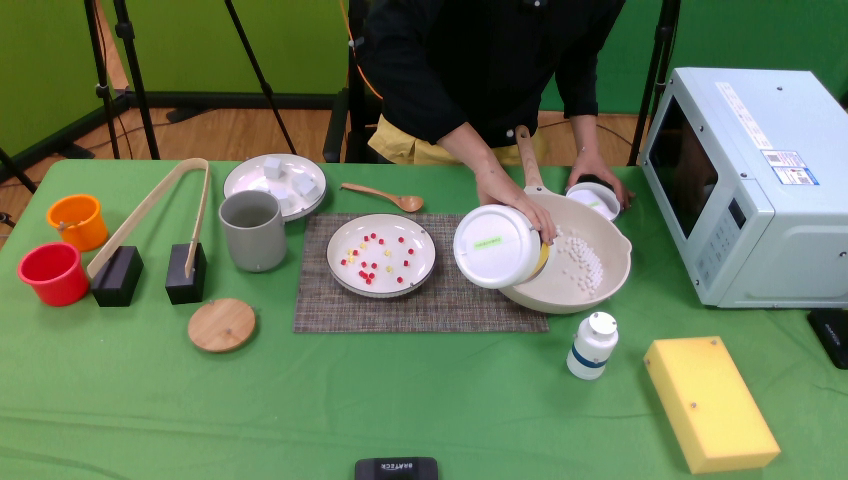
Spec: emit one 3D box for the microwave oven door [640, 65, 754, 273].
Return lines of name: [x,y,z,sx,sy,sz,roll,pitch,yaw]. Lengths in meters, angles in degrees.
microwave oven door: [0.523,-0.147,1.193,0.039,0.245,0.353,0,47,-3]

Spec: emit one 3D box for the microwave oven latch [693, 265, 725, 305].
microwave oven latch: [0.523,0.082,1.116,0.030,0.029,0.078,2,46,-1]

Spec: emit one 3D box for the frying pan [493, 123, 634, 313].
frying pan: [0.235,-0.060,1.208,0.307,0.103,0.484,2,54,-6]

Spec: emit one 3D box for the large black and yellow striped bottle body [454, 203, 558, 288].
large black and yellow striped bottle body: [0.143,0.010,0.999,0.130,0.131,0.184,33,14,24]

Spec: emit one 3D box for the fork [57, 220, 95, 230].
fork: [-0.624,-0.027,1.087,0.028,0.207,0.018,-3,92,-17]

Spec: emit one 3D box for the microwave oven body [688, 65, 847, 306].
microwave oven body: [0.669,-0.111,1.176,0.326,0.261,0.439,0,46,-3]

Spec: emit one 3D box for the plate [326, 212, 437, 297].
plate: [-0.080,0.030,1.143,0.209,0.038,0.208,2,46,-2]

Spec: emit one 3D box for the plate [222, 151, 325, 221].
plate: [-0.310,-0.106,1.262,0.208,0.039,0.206,2,47,-2]

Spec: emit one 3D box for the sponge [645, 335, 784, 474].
sponge: [0.449,0.253,0.956,0.118,0.061,0.205,-4,46,-7]

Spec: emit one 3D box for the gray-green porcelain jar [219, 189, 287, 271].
gray-green porcelain jar: [-0.310,-0.014,1.113,0.106,0.127,0.105,2,46,-2]

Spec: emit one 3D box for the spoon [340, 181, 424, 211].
spoon: [-0.090,-0.100,1.282,0.193,0.022,0.041,18,65,13]

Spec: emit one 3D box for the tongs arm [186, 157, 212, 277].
tongs arm: [-0.445,-0.058,1.168,0.051,0.026,0.382,-4,37,-6]

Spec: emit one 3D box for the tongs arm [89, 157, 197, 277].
tongs arm: [-0.530,-0.058,1.163,0.028,0.028,0.385,1,36,7]

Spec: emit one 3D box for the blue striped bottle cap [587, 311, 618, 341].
blue striped bottle cap: [0.279,0.134,0.946,0.044,0.021,0.044,2,45,-2]

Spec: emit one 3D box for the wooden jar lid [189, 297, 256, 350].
wooden jar lid: [-0.342,0.145,1.033,0.108,0.021,0.107,2,45,-2]

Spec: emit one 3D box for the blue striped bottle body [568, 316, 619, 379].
blue striped bottle body: [0.276,0.169,0.984,0.063,0.121,0.062,2,46,-2]
